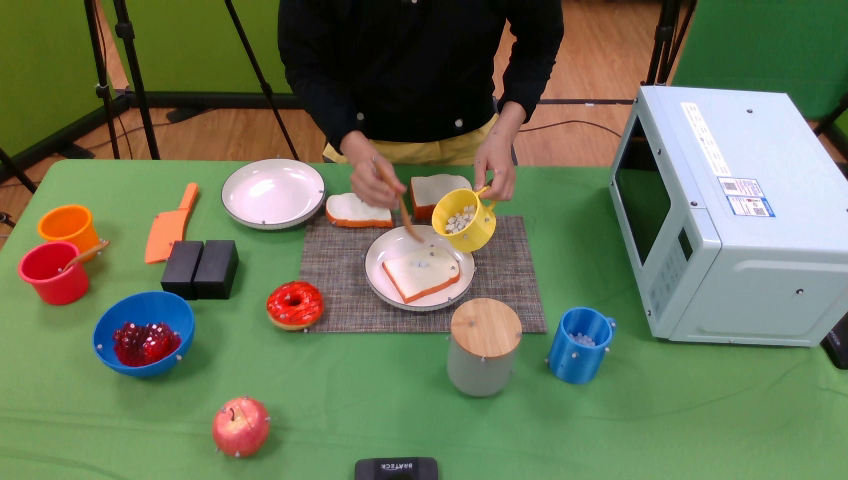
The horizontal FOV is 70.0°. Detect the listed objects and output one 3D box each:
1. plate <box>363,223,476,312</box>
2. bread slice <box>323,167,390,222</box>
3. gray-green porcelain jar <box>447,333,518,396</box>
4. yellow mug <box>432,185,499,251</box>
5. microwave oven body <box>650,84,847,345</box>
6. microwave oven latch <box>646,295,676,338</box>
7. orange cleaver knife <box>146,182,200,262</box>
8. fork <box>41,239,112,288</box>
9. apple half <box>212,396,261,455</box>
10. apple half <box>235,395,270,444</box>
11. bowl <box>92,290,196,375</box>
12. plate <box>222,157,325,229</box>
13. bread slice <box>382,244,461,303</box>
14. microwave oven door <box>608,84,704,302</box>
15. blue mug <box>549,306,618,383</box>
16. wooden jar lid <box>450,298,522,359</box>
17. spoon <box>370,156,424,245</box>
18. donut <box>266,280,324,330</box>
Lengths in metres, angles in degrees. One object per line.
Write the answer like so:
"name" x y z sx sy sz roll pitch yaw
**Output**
"plate" -0.009 0.054 1.126 0.208 0.039 0.206 2 46 -2
"bread slice" -0.140 -0.092 1.224 0.134 0.018 0.106 -19 51 6
"gray-green porcelain jar" 0.091 0.178 0.960 0.106 0.127 0.105 2 46 -2
"yellow mug" 0.084 -0.049 1.094 0.131 0.064 0.099 -44 44 3
"microwave oven body" 0.569 -0.054 1.116 0.326 0.261 0.439 2 46 -1
"microwave oven latch" 0.413 0.133 1.060 0.030 0.029 0.078 4 46 1
"orange cleaver knife" -0.494 -0.039 1.198 0.077 0.012 0.210 -3 48 2
"fork" -0.591 0.040 1.028 0.207 0.019 0.028 -27 37 29
"apple half" -0.276 0.276 0.877 0.053 0.075 0.080 -29 58 -21
"apple half" -0.245 0.260 0.893 0.033 0.082 0.081 -29 55 -22
"bowl" -0.436 0.161 0.971 0.151 0.077 0.150 2 46 -2
"plate" -0.308 -0.094 1.251 0.209 0.038 0.208 2 46 -2
"bread slice" 0.001 0.055 1.130 0.131 0.019 0.104 -21 52 -19
"microwave oven door" 0.424 -0.096 1.138 0.039 0.245 0.353 2 47 -1
"blue mug" 0.269 0.167 0.997 0.116 0.106 0.082 -19 51 -21
"wooden jar lid" 0.093 0.135 0.914 0.108 0.021 0.107 3 48 -3
"spoon" -0.045 -0.063 1.014 0.021 0.195 0.041 -30 33 -8
"donut" -0.223 0.113 1.051 0.099 0.048 0.098 2 45 -2
